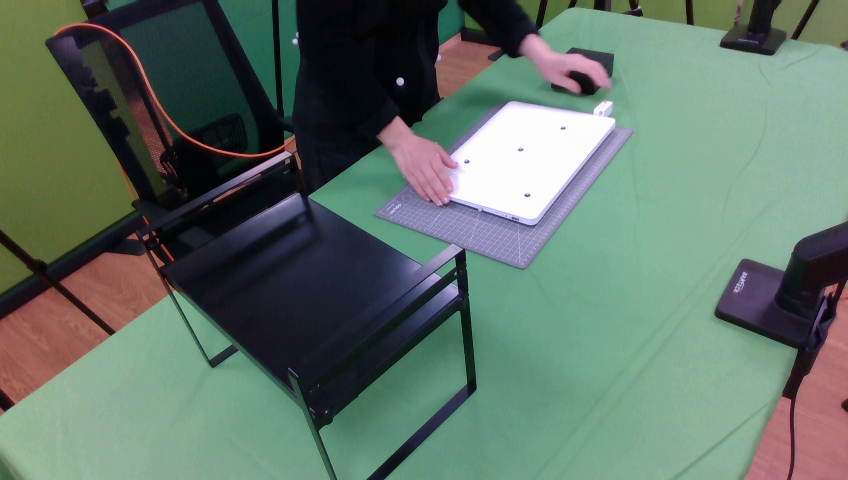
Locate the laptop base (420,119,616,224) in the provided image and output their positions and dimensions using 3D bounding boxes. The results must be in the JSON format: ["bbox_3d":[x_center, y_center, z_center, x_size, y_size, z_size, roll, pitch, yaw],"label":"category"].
[{"bbox_3d":[0.184,-0.156,1.131,0.234,0.023,0.355,17,46,31],"label":"laptop base"}]

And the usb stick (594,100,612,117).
[{"bbox_3d":[0.353,-0.254,1.203,0.021,0.027,0.059,21,46,30],"label":"usb stick"}]

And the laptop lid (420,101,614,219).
[{"bbox_3d":[0.180,-0.166,1.125,0.240,0.013,0.357,20,47,31],"label":"laptop lid"}]
